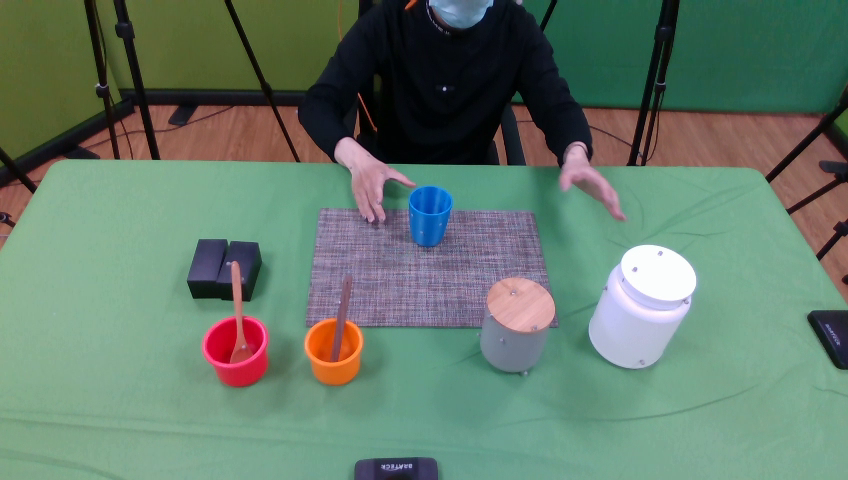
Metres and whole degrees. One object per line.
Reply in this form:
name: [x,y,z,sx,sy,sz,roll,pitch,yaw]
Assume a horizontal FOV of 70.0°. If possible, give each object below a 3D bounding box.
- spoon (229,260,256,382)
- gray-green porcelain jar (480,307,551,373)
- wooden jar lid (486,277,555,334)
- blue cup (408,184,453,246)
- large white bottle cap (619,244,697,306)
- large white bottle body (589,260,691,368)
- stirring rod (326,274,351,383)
spoon: [-0.294,0.129,0.966,0.042,0.021,0.193,-4,91,-8]
gray-green porcelain jar: [0.148,0.148,0.992,0.106,0.127,0.105,2,46,-2]
wooden jar lid: [0.150,0.105,0.948,0.108,0.021,0.107,3,47,-3]
blue cup: [0.008,-0.042,1.177,0.093,0.101,0.092,3,47,-3]
large white bottle cap: [0.363,0.052,0.939,0.115,0.018,0.114,2,46,-2]
large white bottle body: [0.358,0.110,1.000,0.131,0.185,0.130,2,46,-2]
stirring rod: [-0.137,0.142,0.971,0.014,0.006,0.176,9,89,1]
